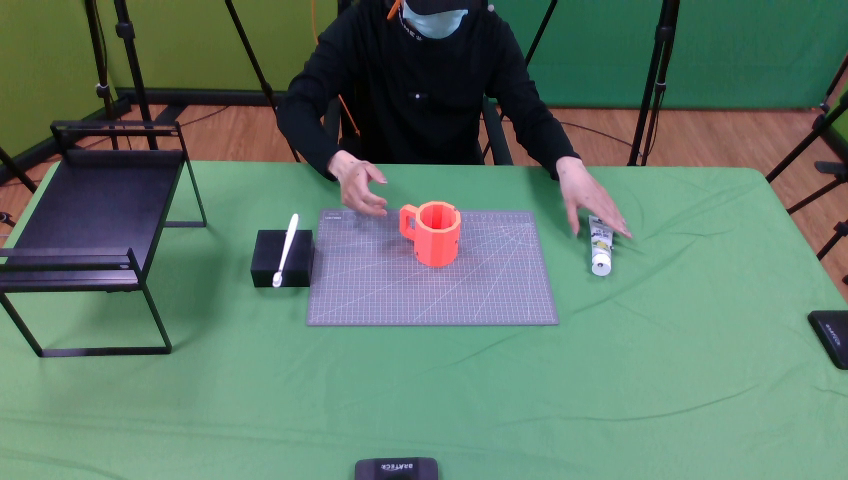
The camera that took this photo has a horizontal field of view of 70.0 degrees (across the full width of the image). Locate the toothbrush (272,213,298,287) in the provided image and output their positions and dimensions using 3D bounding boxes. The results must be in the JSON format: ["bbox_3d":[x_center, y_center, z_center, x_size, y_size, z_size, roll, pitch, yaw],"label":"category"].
[{"bbox_3d":[-0.252,0.012,1.103,0.014,0.017,0.181,1,45,3],"label":"toothbrush"}]

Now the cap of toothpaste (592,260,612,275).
[{"bbox_3d":[0.341,0.052,1.163,0.037,0.037,0.011,10,43,6],"label":"cap of toothpaste"}]

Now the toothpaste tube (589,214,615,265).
[{"bbox_3d":[0.360,0.002,1.220,0.055,0.035,0.164,13,43,4],"label":"toothpaste tube"}]

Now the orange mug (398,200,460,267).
[{"bbox_3d":[0.007,-0.020,1.161,0.126,0.101,0.083,27,50,15],"label":"orange mug"}]
